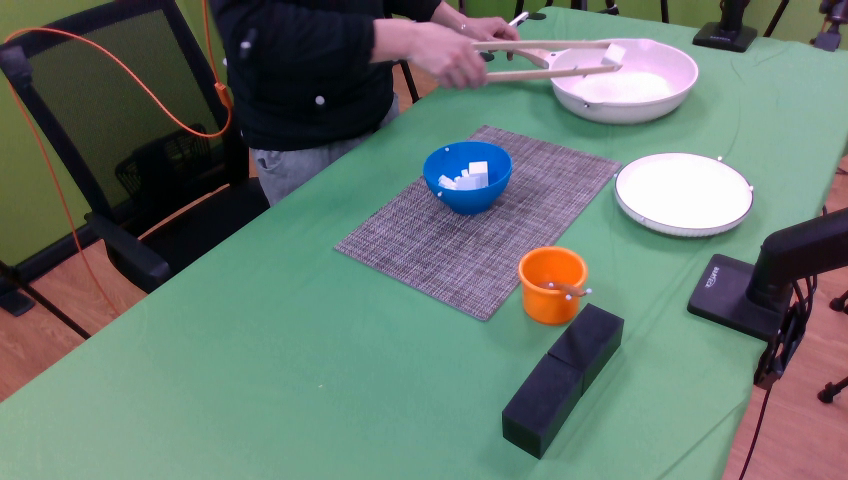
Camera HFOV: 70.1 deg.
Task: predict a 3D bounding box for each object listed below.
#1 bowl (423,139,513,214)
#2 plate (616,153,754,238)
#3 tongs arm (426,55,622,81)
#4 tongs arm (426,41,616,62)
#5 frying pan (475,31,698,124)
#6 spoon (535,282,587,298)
[{"bbox_3d":[0.076,-0.098,1.021,0.151,0.077,0.150,-4,41,4],"label":"bowl"},{"bbox_3d":[0.416,-0.069,0.977,0.207,0.039,0.206,-4,40,4],"label":"plate"},{"bbox_3d":[0.185,-0.303,1.051,0.387,0.026,0.050,-12,83,-25],"label":"tongs arm"},{"bbox_3d":[0.179,-0.331,1.055,0.390,0.028,0.027,-9,-5,-24],"label":"tongs arm"},{"bbox_3d":[0.320,-0.371,1.290,0.485,0.103,0.307,28,50,23],"label":"frying pan"},{"bbox_3d":[0.176,0.063,0.774,0.041,0.194,0.021,-2,85,0],"label":"spoon"}]
